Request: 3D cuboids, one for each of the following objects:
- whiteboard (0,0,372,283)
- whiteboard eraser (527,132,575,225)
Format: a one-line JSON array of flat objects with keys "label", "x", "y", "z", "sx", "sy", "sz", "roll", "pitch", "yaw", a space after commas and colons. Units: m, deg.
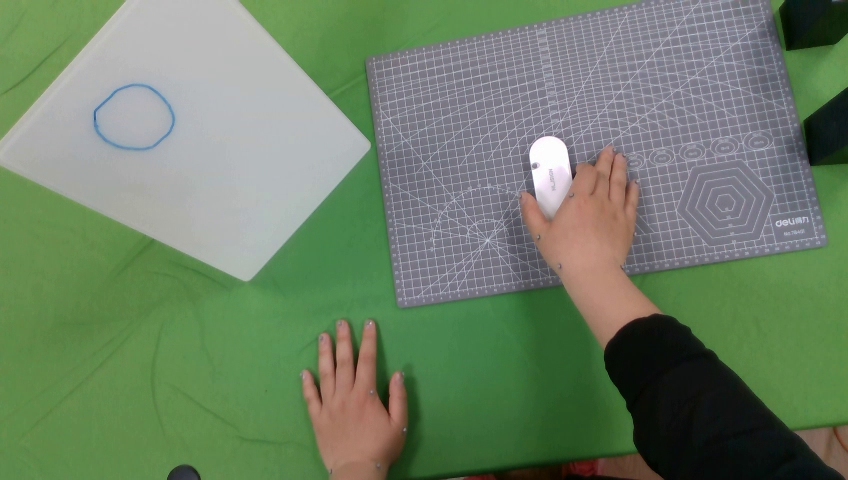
[{"label": "whiteboard", "x": -0.234, "y": -0.124, "z": 0.607, "sx": 0.217, "sy": 0.308, "sz": 0.142, "roll": -48, "pitch": 58, "yaw": 0}, {"label": "whiteboard eraser", "x": 0.137, "y": -0.066, "z": 0.654, "sx": 0.041, "sy": 0.019, "sz": 0.101, "roll": -9, "pitch": 82, "yaw": 7}]
